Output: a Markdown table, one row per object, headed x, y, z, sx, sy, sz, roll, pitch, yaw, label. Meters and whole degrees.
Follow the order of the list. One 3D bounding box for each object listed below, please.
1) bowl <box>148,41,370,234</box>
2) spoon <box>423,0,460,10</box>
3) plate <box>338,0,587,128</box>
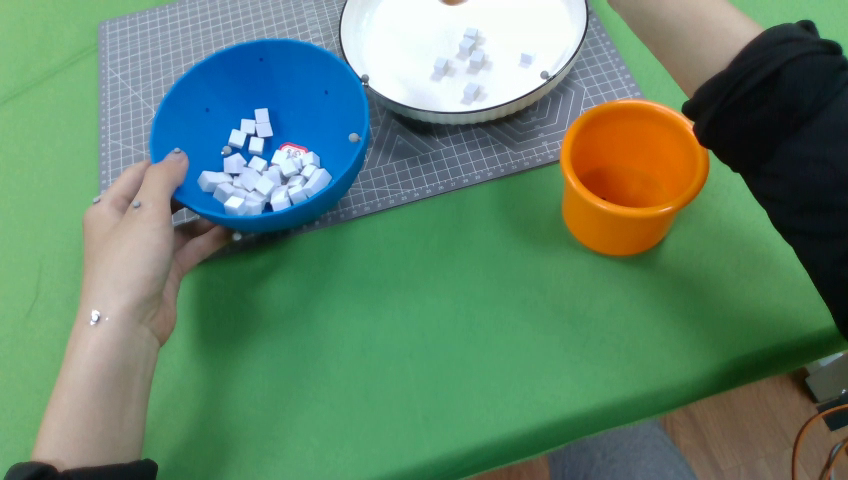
| x | y | z | sx | sy | sz | roll | pitch | yaw | label |
| --- | --- | --- | --- | --- | --- | --- | --- | --- | --- |
| -0.109 | -0.061 | 0.443 | 0.151 | 0.077 | 0.150 | -1 | 64 | 3 | bowl |
| 0.047 | -0.224 | 0.376 | 0.041 | 0.194 | 0.021 | 49 | 52 | 5 | spoon |
| 0.031 | -0.176 | 0.521 | 0.209 | 0.038 | 0.207 | -2 | 63 | 5 | plate |
